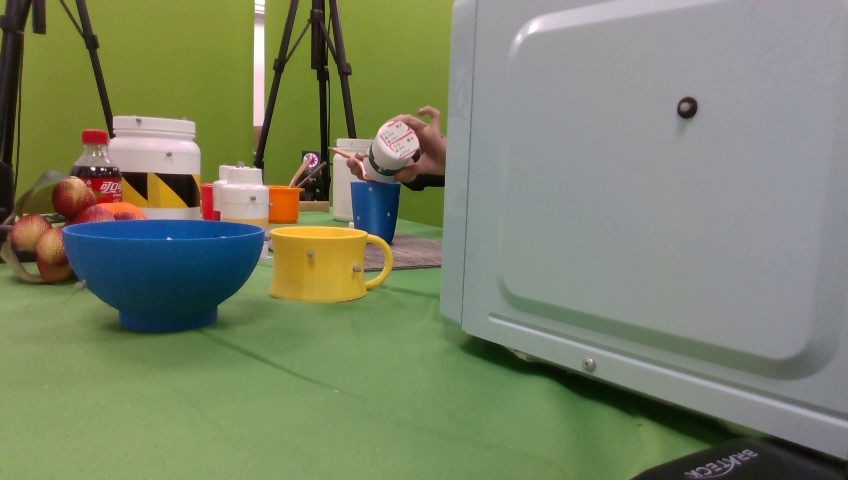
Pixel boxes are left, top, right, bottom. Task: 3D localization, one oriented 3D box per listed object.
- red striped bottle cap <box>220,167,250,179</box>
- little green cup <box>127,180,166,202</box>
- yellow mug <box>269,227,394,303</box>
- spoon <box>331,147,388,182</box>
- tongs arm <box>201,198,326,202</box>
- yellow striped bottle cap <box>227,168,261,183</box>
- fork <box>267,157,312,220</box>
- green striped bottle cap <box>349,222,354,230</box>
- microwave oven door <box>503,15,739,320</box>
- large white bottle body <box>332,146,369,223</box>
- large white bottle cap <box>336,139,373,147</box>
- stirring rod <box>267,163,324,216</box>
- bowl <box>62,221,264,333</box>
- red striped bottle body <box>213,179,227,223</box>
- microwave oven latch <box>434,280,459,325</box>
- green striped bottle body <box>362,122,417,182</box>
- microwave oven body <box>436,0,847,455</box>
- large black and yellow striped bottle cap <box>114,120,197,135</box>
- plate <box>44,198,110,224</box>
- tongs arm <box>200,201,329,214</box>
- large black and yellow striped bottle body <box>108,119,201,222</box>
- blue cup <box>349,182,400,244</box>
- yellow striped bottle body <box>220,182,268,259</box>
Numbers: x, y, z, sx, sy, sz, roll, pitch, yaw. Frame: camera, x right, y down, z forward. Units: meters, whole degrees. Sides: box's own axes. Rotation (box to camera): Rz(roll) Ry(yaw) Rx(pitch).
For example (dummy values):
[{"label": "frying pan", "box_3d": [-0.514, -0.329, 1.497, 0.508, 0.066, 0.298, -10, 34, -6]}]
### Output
[{"label": "red striped bottle cap", "box_3d": [-0.281, -0.100, 0.901, 0.044, 0.017, 0.044, -1, 5, 0]}, {"label": "little green cup", "box_3d": [-0.486, -0.086, 1.061, 0.061, 0.038, 0.061, 1, 7, 0]}, {"label": "yellow mug", "box_3d": [-0.094, 0.023, 0.629, 0.131, 0.064, 0.099, 0, 7, -22]}, {"label": "spoon", "box_3d": [-0.116, -0.132, 1.050, 0.042, 0.021, 0.192, -8, 31, -32]}, {"label": "tongs arm", "box_3d": [-0.433, -0.090, 1.508, 0.390, 0.028, 0.028, -1, 2, -29]}, {"label": "yellow striped bottle cap", "box_3d": [-0.243, -0.087, 0.818, 0.044, 0.018, 0.044, 3, 6, 0]}, {"label": "fork", "box_3d": [-0.289, -0.116, 1.321, 0.028, 0.019, 0.207, 6, 51, 19]}, {"label": "green striped bottle cap", "box_3d": [-0.122, -0.024, 1.155, 0.044, 0.020, 0.044, -1, 9, 1]}, {"label": "microwave oven door", "box_3d": [0.218, -0.065, 0.600, 0.358, 0.243, 0.039, -4, 10, -41]}, {"label": "large white bottle body", "box_3d": [-0.146, -0.136, 1.388, 0.131, 0.184, 0.130, 2, 8, 0]}, {"label": "large white bottle cap", "box_3d": [-0.143, -0.219, 1.375, 0.115, 0.018, 0.115, 2, 8, 0]}, {"label": "stirring rod", "box_3d": [-0.278, -0.105, 1.294, 0.176, 0.006, 0.014, -47, 26, -18]}, {"label": "bowl", "box_3d": [-0.208, 0.029, 0.496, 0.151, 0.077, 0.151, 2, 7, 0]}, {"label": "red striped bottle body", "box_3d": [-0.284, -0.048, 0.909, 0.063, 0.119, 0.063, 3, 11, 0]}, {"label": "microwave oven latch", "box_3d": [0.044, 0.045, 0.470, 0.079, 0.029, 0.030, -2, 8, -39]}, {"label": "green striped bottle body", "box_3d": [-0.058, -0.131, 0.937, 0.063, 0.063, 0.119, 0, -13, -21]}, {"label": "microwave oven body", "box_3d": [0.279, -0.040, 0.465, 0.444, 0.260, 0.324, -3, 9, -41]}, {"label": "large black and yellow striped bottle cap", "box_3d": [-0.407, -0.171, 0.920, 0.115, 0.019, 0.115, 2, 9, 0]}, {"label": "plate", "box_3d": [-0.617, -0.056, 1.179, 0.209, 0.038, 0.209, 3, 7, 0]}, {"label": "tongs arm", "box_3d": [-0.378, -0.079, 1.440, 0.387, 0.026, 0.050, -4, 8, -44]}, {"label": "large black and yellow striped bottle body", "box_3d": [-0.412, -0.088, 0.930, 0.131, 0.184, 0.130, 3, 7, 0]}, {"label": "blue cup", "box_3d": [-0.082, -0.046, 1.010, 0.093, 0.100, 0.092, 1, 6, 0]}, {"label": "yellow striped bottle body", "box_3d": [-0.246, -0.036, 0.825, 0.063, 0.120, 0.063, 3, 8, 0]}]
